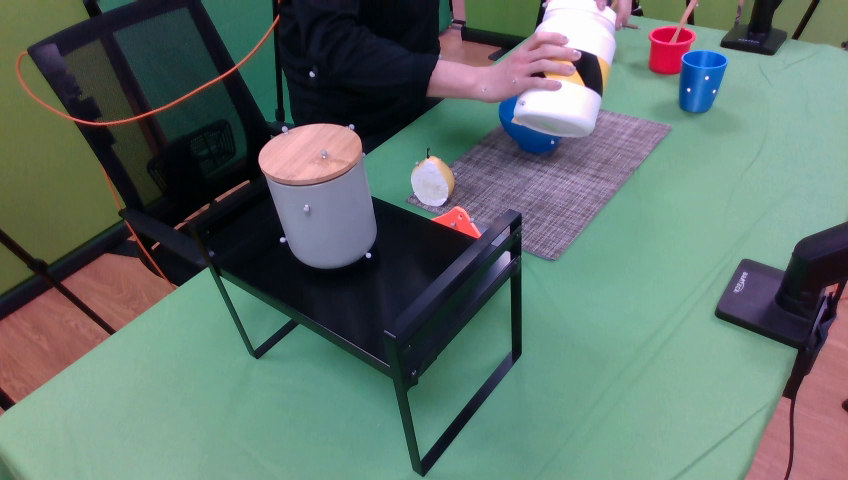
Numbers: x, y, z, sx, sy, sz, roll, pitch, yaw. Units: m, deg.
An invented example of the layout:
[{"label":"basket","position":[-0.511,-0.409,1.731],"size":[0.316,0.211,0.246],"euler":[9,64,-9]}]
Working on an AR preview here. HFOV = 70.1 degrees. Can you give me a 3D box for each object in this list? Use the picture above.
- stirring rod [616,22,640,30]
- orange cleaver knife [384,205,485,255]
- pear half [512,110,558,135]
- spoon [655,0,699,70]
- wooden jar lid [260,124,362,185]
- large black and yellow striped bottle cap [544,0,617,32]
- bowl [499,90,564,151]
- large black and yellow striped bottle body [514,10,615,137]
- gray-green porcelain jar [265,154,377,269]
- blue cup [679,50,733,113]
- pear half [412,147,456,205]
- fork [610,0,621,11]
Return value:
[{"label":"stirring rod","position":[0.419,-0.508,1.404],"size":[0.174,0.006,0.014],"euler":[28,54,35]},{"label":"orange cleaver knife","position":[0.012,-0.010,0.942],"size":[0.012,0.077,0.210],"euler":[-36,19,-35]},{"label":"pear half","position":[0.212,-0.228,1.152],"size":[0.088,0.031,0.070],"euler":[8,46,10]},{"label":"spoon","position":[0.567,-0.463,1.337],"size":[0.041,0.022,0.193],"euler":[30,97,38]},{"label":"wooden jar lid","position":[-0.119,-0.088,0.645],"size":[0.108,0.021,0.108],"euler":[-4,40,4]},{"label":"large black and yellow striped bottle cap","position":[0.250,-0.352,0.967],"size":[0.115,0.019,0.115],"euler":[14,0,0]},{"label":"bowl","position":[0.220,-0.223,1.155],"size":[0.151,0.077,0.150],"euler":[-4,40,4]},{"label":"large black and yellow striped bottle body","position":[0.228,-0.270,0.968],"size":[0.131,0.184,0.131],"euler":[15,0,0]},{"label":"gray-green porcelain jar","position":[-0.112,-0.039,0.685],"size":[0.106,0.127,0.105],"euler":[-4,40,4]},{"label":"blue cup","position":[0.545,-0.309,1.193],"size":[0.092,0.100,0.092],"euler":[-4,39,3]},{"label":"pear half","position":[0.019,-0.120,1.042],"size":[0.076,0.110,0.056],"euler":[11,44,16]},{"label":"fork","position":[0.446,-0.539,1.438],"size":[0.207,0.019,0.028],"euler":[-57,35,12]}]
